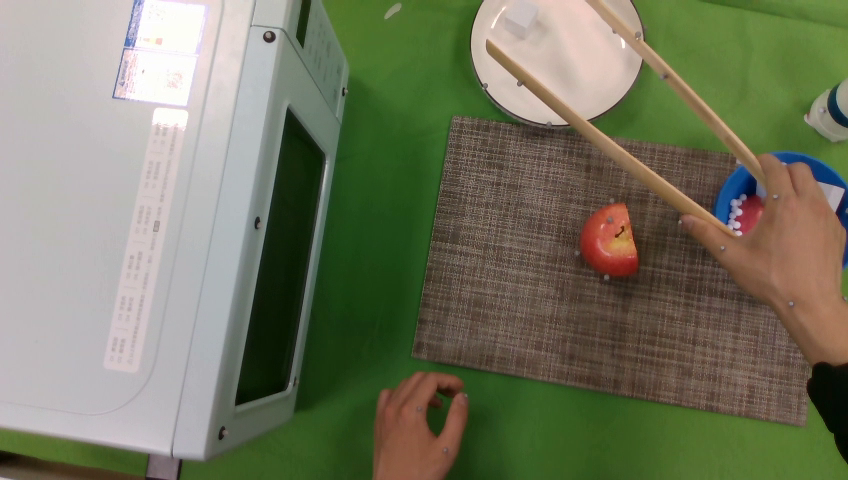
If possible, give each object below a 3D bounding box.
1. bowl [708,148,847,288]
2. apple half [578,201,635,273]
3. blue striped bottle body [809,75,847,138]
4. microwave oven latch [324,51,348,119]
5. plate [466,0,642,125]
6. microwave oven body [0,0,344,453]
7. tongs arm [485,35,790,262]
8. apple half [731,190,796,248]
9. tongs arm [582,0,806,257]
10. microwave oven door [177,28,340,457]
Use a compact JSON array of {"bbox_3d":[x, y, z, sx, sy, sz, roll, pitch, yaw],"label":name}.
[{"bbox_3d":[0.382,-0.018,0.672,0.151,0.077,0.151,-1,82,4],"label":"bowl"},{"bbox_3d":[0.201,0.000,0.682,0.053,0.075,0.080,-10,85,6],"label":"apple half"},{"bbox_3d":[0.488,-0.160,0.667,0.063,0.121,0.063,-1,81,4],"label":"blue striped bottle body"},{"bbox_3d":[-0.110,-0.188,0.729,0.030,0.029,0.079,8,84,4],"label":"microwave oven latch"},{"bbox_3d":[0.155,-0.237,0.739,0.207,0.039,0.207,0,83,3],"label":"plate"},{"bbox_3d":[-0.288,-0.048,0.623,0.326,0.261,0.440,8,83,4],"label":"microwave oven body"},{"bbox_3d":[0.191,-0.105,0.616,0.028,0.028,0.384,-38,63,-9],"label":"tongs arm"},{"bbox_3d":[0.383,-0.018,0.667,0.081,0.033,0.081,0,82,3],"label":"apple half"},{"bbox_3d":[0.247,-0.144,0.618,0.051,0.027,0.381,-32,63,-2],"label":"tongs arm"},{"bbox_3d":[-0.150,0.011,0.602,0.039,0.244,0.354,7,83,5],"label":"microwave oven door"}]
